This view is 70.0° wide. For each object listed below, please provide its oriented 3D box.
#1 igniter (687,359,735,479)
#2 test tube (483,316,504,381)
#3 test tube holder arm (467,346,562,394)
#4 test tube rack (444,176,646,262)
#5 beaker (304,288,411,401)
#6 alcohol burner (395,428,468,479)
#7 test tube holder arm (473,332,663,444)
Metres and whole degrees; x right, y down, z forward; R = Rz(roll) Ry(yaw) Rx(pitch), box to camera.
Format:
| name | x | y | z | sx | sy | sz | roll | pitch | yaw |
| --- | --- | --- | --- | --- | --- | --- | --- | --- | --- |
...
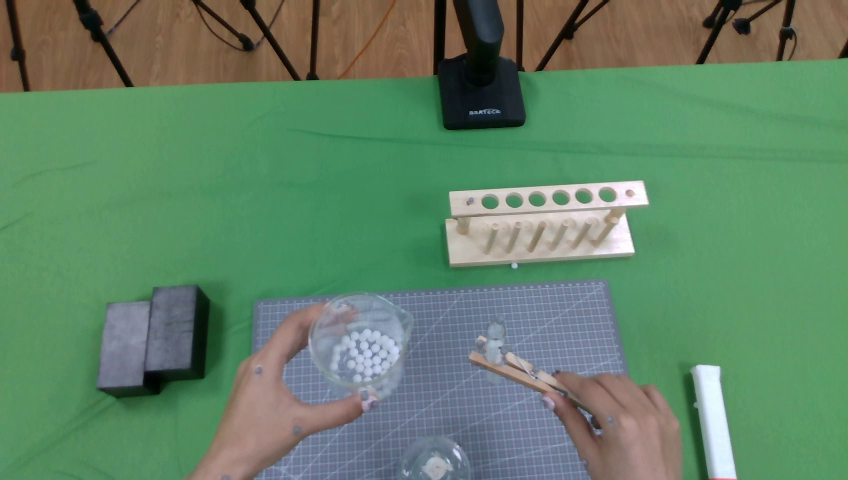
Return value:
| name | x | y | z | sx | sy | sz | roll | pitch | yaw |
| --- | --- | --- | --- | --- | --- | --- | --- | --- | --- |
| igniter | 0.329 | 0.270 | 0.675 | 0.057 | 0.025 | 0.274 | 7 | 65 | -10 |
| test tube | 0.060 | 0.099 | 0.532 | 0.017 | 0.151 | 0.017 | -2 | 63 | 4 |
| test tube holder arm | 0.079 | 0.114 | 0.530 | 0.087 | 0.015 | 0.010 | 20 | 74 | 8 |
| test tube rack | 0.151 | -0.025 | 0.770 | 0.242 | 0.086 | 0.066 | -3 | 65 | -4 |
| beaker | -0.051 | 0.089 | 0.499 | 0.084 | 0.101 | 0.073 | -22 | 69 | -13 |
| alcohol burner | 0.009 | 0.232 | 0.628 | 0.078 | 0.120 | 0.077 | 1 | 63 | -2 |
| test tube holder arm | 0.122 | 0.127 | 0.524 | 0.178 | 0.015 | 0.013 | 27 | 75 | 10 |
